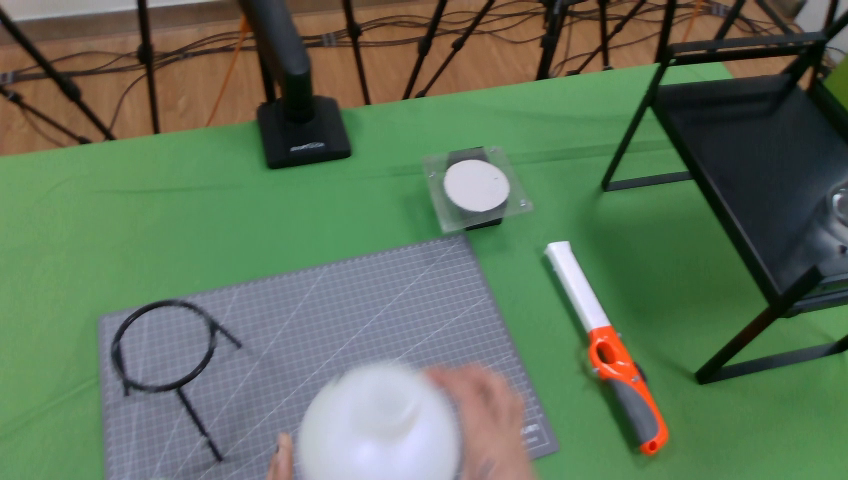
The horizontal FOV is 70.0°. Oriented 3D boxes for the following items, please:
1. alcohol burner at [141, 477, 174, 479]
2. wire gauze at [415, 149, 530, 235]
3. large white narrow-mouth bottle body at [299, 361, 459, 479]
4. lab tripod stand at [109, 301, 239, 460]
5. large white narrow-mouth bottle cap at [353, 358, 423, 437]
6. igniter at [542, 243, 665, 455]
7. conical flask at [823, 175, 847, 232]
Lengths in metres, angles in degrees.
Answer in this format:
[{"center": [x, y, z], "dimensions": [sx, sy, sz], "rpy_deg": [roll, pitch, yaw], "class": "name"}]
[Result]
[{"center": [-0.244, 0.242, 0.529], "dimensions": [0.078, 0.120, 0.077], "rpy_deg": [4, 53, -5], "class": "alcohol burner"}, {"center": [0.061, -0.068, 0.788], "dimensions": [0.122, 0.011, 0.124], "rpy_deg": [-11, 58, -14], "class": "wire gauze"}, {"center": [-0.029, 0.137, 0.392], "dimensions": [0.102, 0.196, 0.101], "rpy_deg": [4, 54, -5], "class": "large white narrow-mouth bottle body"}, {"center": [-0.237, 0.133, 0.594], "dimensions": [0.148, 0.132, 0.147], "rpy_deg": [4, 55, -6], "class": "lab tripod stand"}, {"center": [-0.019, 0.083, 0.321], "dimensions": [0.038, 0.024, 0.037], "rpy_deg": [4, 54, -6], "class": "large white narrow-mouth bottle cap"}, {"center": [0.210, 0.119, 0.721], "dimensions": [0.057, 0.025, 0.273], "rpy_deg": [-6, 56, -23], "class": "igniter"}, {"center": [0.465, -0.063, 0.598], "dimensions": [0.075, 0.123, 0.074], "rpy_deg": [3, 55, -4], "class": "conical flask"}]
